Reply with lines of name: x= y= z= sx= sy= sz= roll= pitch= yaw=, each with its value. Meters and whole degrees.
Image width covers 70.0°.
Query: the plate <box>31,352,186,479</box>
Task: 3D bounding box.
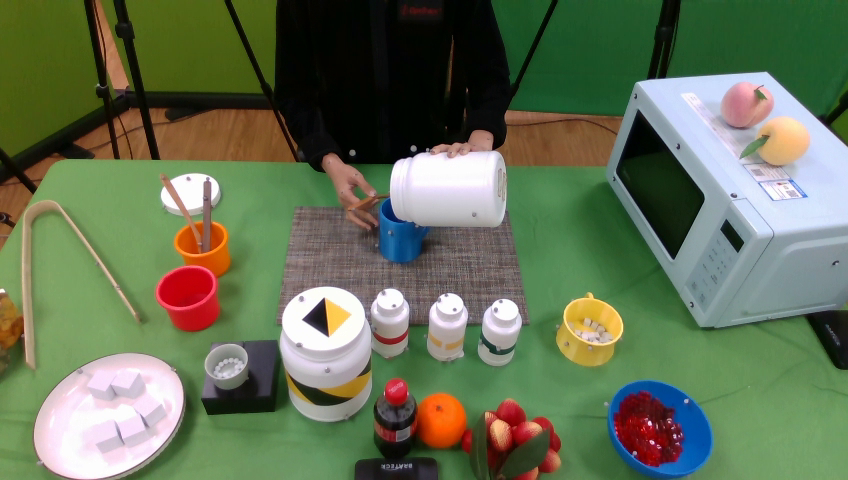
plate: x=-0.459 y=0.262 z=0.898 sx=0.209 sy=0.038 sz=0.208 roll=2 pitch=45 yaw=-2

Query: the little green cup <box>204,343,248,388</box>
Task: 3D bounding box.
little green cup: x=-0.294 y=0.190 z=0.909 sx=0.061 sy=0.039 sz=0.061 roll=1 pitch=48 yaw=-1

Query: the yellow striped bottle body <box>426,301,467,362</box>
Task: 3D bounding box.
yellow striped bottle body: x=0.037 y=0.142 z=0.996 sx=0.063 sy=0.121 sz=0.062 roll=2 pitch=46 yaw=-2

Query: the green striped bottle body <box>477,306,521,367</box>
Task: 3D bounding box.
green striped bottle body: x=0.124 y=0.151 z=0.995 sx=0.063 sy=0.120 sz=0.063 roll=2 pitch=46 yaw=-2

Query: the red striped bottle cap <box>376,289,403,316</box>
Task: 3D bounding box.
red striped bottle cap: x=-0.054 y=0.098 z=0.958 sx=0.044 sy=0.018 sz=0.044 roll=0 pitch=48 yaw=1

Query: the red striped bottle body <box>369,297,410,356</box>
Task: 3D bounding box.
red striped bottle body: x=-0.058 y=0.135 z=0.997 sx=0.063 sy=0.120 sz=0.062 roll=6 pitch=49 yaw=-6

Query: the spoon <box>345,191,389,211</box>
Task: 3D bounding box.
spoon: x=-0.090 y=-0.081 z=1.159 sx=0.041 sy=0.022 sz=0.194 roll=18 pitch=20 yaw=27

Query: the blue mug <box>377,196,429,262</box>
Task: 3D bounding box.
blue mug: x=-0.034 y=-0.028 z=1.159 sx=0.116 sy=0.106 sz=0.082 roll=-23 pitch=53 yaw=-24

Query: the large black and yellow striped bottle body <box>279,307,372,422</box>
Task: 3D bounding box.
large black and yellow striped bottle body: x=-0.145 y=0.173 z=0.908 sx=0.131 sy=0.185 sz=0.130 roll=2 pitch=46 yaw=-2

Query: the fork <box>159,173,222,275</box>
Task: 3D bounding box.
fork: x=-0.427 y=-0.029 z=1.103 sx=0.028 sy=0.018 sz=0.207 roll=-31 pitch=99 yaw=-30

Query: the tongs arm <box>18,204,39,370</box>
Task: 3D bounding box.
tongs arm: x=-0.698 y=0.069 z=1.069 sx=0.028 sy=0.028 sz=0.385 roll=-20 pitch=50 yaw=-13

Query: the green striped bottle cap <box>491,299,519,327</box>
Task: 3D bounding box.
green striped bottle cap: x=0.128 y=0.115 z=0.958 sx=0.044 sy=0.020 sz=0.044 roll=1 pitch=47 yaw=-1

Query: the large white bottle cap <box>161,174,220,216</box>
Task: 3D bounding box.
large white bottle cap: x=-0.483 y=-0.095 z=1.253 sx=0.115 sy=0.018 sz=0.114 roll=2 pitch=46 yaw=-2

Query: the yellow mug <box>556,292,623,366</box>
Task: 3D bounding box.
yellow mug: x=0.285 y=0.145 z=1.051 sx=0.100 sy=0.064 sz=0.130 roll=7 pitch=45 yaw=3

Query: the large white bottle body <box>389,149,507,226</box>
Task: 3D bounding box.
large white bottle body: x=0.043 y=-0.089 z=1.054 sx=0.184 sy=0.131 sz=0.130 roll=1 pitch=44 yaw=19

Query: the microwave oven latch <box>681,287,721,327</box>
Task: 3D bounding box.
microwave oven latch: x=0.494 y=0.119 z=1.087 sx=0.030 sy=0.029 sz=0.078 roll=-6 pitch=46 yaw=-9

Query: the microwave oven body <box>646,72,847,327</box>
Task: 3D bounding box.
microwave oven body: x=0.607 y=-0.089 z=1.164 sx=0.326 sy=0.261 sz=0.438 roll=-7 pitch=46 yaw=-10

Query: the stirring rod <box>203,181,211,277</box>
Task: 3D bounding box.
stirring rod: x=-0.396 y=-0.021 z=1.107 sx=0.014 sy=0.006 sz=0.176 roll=-1 pitch=89 yaw=-2

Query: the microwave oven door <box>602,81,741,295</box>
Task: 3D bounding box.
microwave oven door: x=0.456 y=-0.107 z=1.162 sx=0.039 sy=0.245 sz=0.353 roll=-7 pitch=47 yaw=-11

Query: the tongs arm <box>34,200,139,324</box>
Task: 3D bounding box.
tongs arm: x=-0.622 y=0.034 z=1.105 sx=0.051 sy=0.026 sz=0.382 roll=-32 pitch=55 yaw=-25

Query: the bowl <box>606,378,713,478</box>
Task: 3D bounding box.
bowl: x=0.340 y=0.292 z=0.906 sx=0.151 sy=0.077 sz=0.150 roll=2 pitch=46 yaw=-2

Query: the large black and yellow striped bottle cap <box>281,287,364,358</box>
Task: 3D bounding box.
large black and yellow striped bottle cap: x=-0.141 y=0.112 z=0.847 sx=0.115 sy=0.019 sz=0.114 roll=5 pitch=45 yaw=-4

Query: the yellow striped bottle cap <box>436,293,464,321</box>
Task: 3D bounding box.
yellow striped bottle cap: x=0.041 y=0.106 z=0.959 sx=0.044 sy=0.019 sz=0.044 roll=-1 pitch=51 yaw=2
